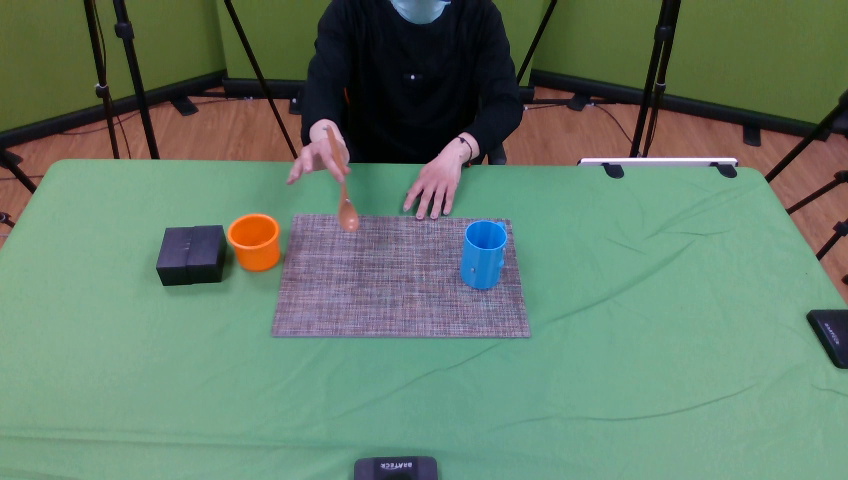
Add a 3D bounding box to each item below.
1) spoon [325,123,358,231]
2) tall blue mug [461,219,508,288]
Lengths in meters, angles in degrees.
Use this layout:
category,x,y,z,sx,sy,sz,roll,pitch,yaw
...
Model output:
category,x,y,z,sx,sy,sz,roll,pitch,yaw
spoon,-0.143,-0.106,1.044,0.041,0.194,0.021,-26,33,-33
tall blue mug,0.111,0.015,1.122,0.078,0.108,0.106,6,46,4
